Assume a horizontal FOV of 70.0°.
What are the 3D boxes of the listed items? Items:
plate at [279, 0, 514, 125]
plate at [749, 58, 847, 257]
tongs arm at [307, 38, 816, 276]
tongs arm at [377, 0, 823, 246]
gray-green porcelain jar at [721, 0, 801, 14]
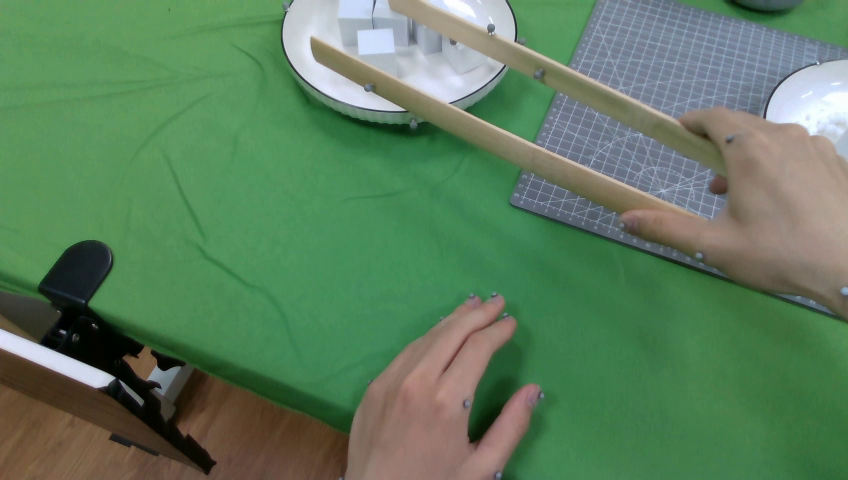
[{"bbox_3d":[-0.024,-0.179,0.551,0.208,0.039,0.205,1,58,-1],"label":"plate"},{"bbox_3d":[0.362,-0.058,0.481,0.209,0.038,0.207,0,58,0],"label":"plate"},{"bbox_3d":[0.062,-0.069,0.422,0.385,0.028,0.028,29,57,22],"label":"tongs arm"},{"bbox_3d":[0.093,-0.101,0.441,0.382,0.027,0.050,32,62,24],"label":"tongs arm"},{"bbox_3d":[0.338,-0.293,0.576,0.106,0.127,0.105,0,58,0],"label":"gray-green porcelain jar"}]
